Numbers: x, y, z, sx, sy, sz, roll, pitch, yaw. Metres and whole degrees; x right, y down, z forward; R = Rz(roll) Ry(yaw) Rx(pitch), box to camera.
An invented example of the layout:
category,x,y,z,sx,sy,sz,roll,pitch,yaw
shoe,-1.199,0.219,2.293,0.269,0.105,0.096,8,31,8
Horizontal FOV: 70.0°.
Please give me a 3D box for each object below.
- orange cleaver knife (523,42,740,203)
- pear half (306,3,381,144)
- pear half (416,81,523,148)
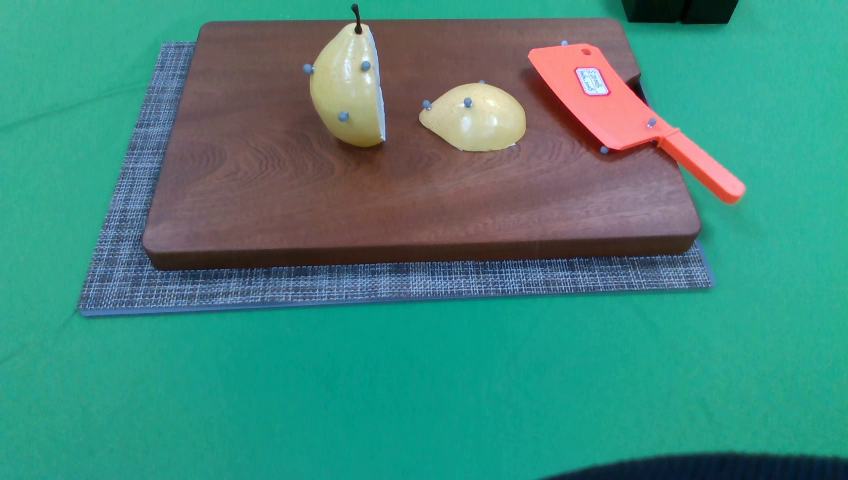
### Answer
category,x,y,z,sx,sy,sz,roll,pitch,yaw
orange cleaver knife,0.163,-0.101,0.496,0.077,0.012,0.209,-24,61,-23
pear half,-0.061,-0.124,0.447,0.056,0.111,0.075,-7,50,-6
pear half,0.038,-0.108,0.491,0.088,0.031,0.070,5,48,-2
